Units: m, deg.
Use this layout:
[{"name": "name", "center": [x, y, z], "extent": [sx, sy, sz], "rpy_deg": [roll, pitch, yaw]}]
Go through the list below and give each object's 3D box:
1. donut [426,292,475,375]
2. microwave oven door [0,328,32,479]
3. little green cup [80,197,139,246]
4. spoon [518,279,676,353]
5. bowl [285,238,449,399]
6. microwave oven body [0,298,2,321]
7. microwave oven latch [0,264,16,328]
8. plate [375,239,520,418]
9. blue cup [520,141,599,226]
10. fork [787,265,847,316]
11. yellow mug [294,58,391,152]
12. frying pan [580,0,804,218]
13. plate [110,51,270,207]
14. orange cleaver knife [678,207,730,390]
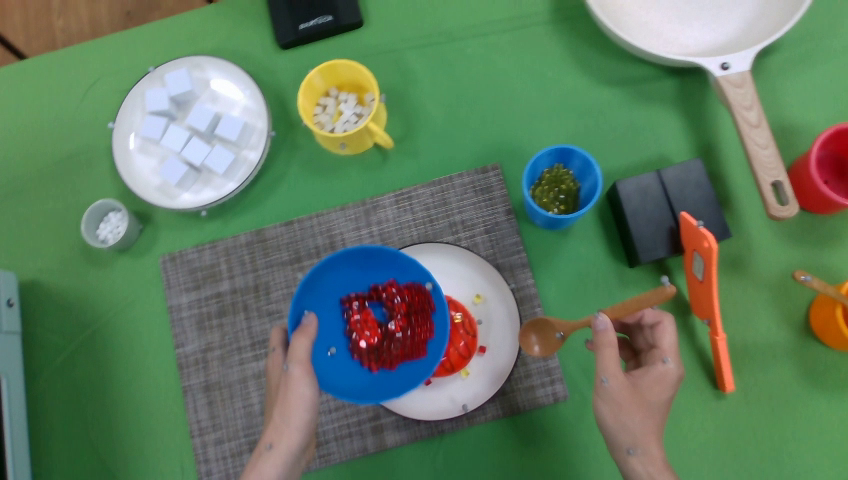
[{"name": "donut", "center": [0.011, 0.107, 0.703], "extent": [0.099, 0.048, 0.098], "rpy_deg": [-1, 83, 4]}, {"name": "microwave oven door", "center": [-0.494, 0.261, 0.608], "extent": [0.039, 0.245, 0.354], "rpy_deg": [-13, 79, 2]}, {"name": "little green cup", "center": [-0.398, -0.020, 0.772], "extent": [0.061, 0.039, 0.061], "rpy_deg": [-1, 80, 3]}, {"name": "spoon", "center": [0.152, 0.072, 0.559], "extent": [0.022, 0.194, 0.041], "rpy_deg": [-21, 82, -33]}, {"name": "bowl", "center": [-0.056, 0.080, 0.591], "extent": [0.152, 0.077, 0.150], "rpy_deg": [3, 73, -9]}, {"name": "microwave oven body", "center": [-0.645, 0.252, 0.627], "extent": [0.326, 0.261, 0.439], "rpy_deg": [-12, 80, 2]}, {"name": "microwave oven latch", "center": [-0.528, 0.069, 0.749], "extent": [0.030, 0.029, 0.079], "rpy_deg": [-10, 80, 2]}, {"name": "plate", "center": [0.008, 0.103, 0.716], "extent": [0.209, 0.038, 0.208], "rpy_deg": [-1, 80, 5]}, {"name": "blue cup", "center": [0.150, -0.057, 0.705], "extent": [0.092, 0.100, 0.092], "rpy_deg": [-1, 78, 4]}, {"name": "fork", "center": [0.433, 0.059, 0.637], "extent": [0.209, 0.018, 0.028], "rpy_deg": [22, 79, -36]}, {"name": "yellow mug", "center": [-0.094, -0.159, 0.761], "extent": [0.130, 0.064, 0.100], "rpy_deg": [37, 84, 9]}, {"name": "frying pan", "center": [0.339, -0.252, 0.723], "extent": [0.307, 0.103, 0.484], "rpy_deg": [-10, 71, 4]}, {"name": "plate", "center": [-0.298, -0.141, 0.788], "extent": [0.207, 0.039, 0.207], "rpy_deg": [-1, 80, 5]}, {"name": "orange cleaver knife", "center": [0.312, 0.067, 0.679], "extent": [0.012, 0.076, 0.212], "rpy_deg": [-16, 107, 2]}]
